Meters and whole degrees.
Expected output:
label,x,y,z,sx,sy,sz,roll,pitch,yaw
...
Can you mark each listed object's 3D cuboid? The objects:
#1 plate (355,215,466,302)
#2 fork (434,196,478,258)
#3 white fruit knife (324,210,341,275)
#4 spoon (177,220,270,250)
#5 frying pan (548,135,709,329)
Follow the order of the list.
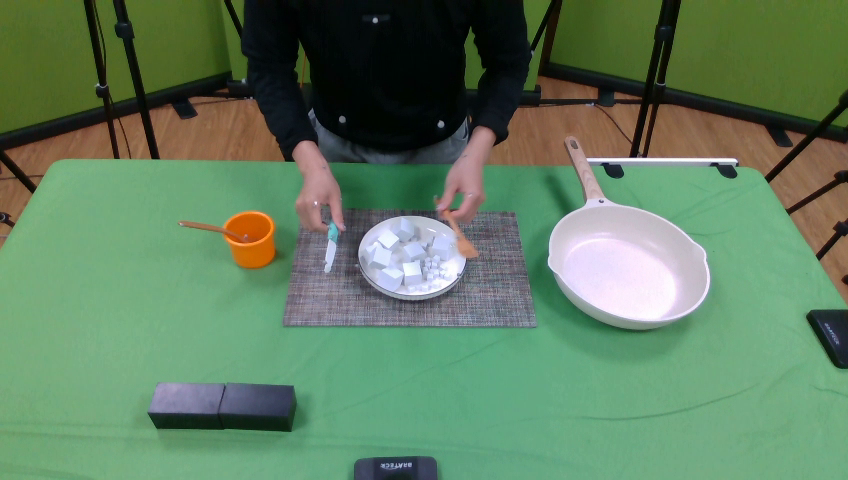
label,x,y,z,sx,sy,sz,roll,pitch,yaw
plate,-0.025,0.038,1.144,0.208,0.039,0.206,2,46,-2
fork,0.051,-0.026,1.067,0.028,0.019,0.206,6,34,-23
white fruit knife,-0.159,0.000,1.044,0.016,0.027,0.206,-26,29,12
spoon,-0.358,-0.012,1.093,0.021,0.195,0.041,-52,54,10
frying pan,0.360,-0.033,1.200,0.307,0.103,0.484,-4,55,-9
